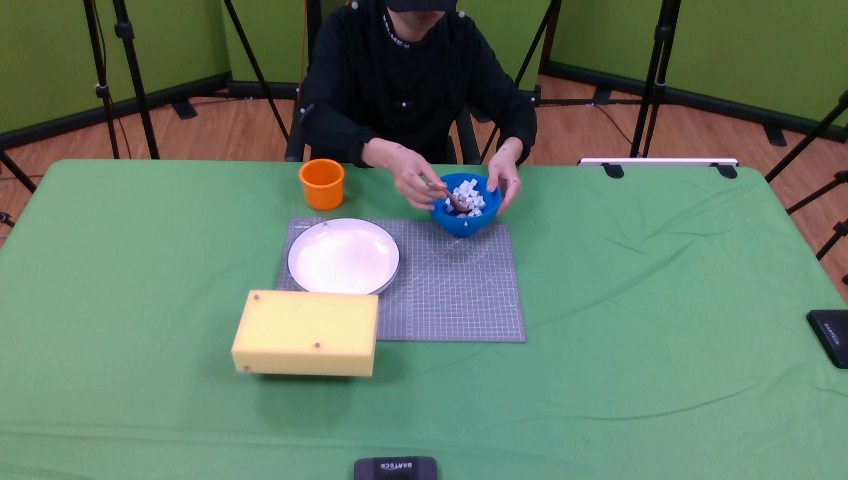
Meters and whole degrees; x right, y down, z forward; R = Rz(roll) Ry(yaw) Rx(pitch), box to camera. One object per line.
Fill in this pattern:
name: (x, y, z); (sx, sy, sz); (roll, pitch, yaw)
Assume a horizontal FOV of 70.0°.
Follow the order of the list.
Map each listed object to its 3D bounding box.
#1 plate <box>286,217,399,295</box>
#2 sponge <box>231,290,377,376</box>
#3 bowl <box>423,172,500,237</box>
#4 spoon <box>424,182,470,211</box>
plate: (-0.150, 0.041, 1.131); (0.209, 0.038, 0.208); (2, 46, -2)
sponge: (-0.180, 0.144, 0.949); (0.207, 0.061, 0.117); (2, 46, -2)
bowl: (0.074, -0.060, 1.201); (0.151, 0.077, 0.150); (-1, 41, 1)
spoon: (0.042, -0.084, 1.149); (0.041, 0.194, 0.021); (26, 88, 27)
